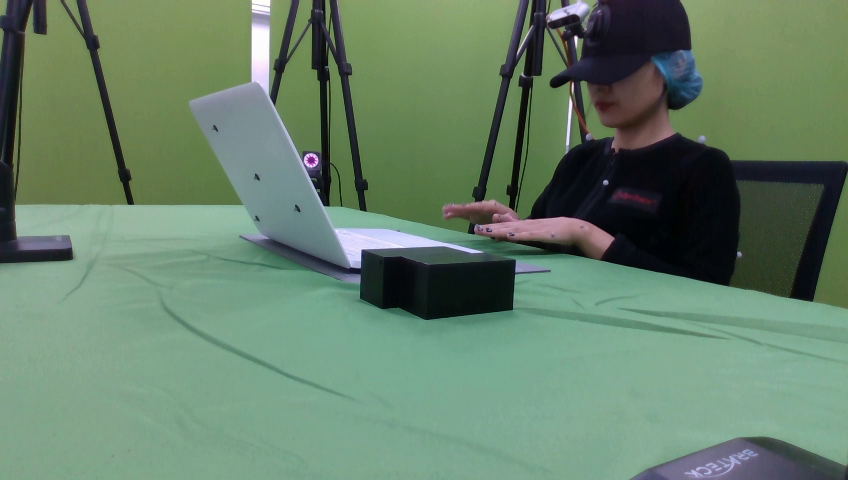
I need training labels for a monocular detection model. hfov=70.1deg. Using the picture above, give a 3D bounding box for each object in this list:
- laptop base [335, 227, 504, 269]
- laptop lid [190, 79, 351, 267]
[{"bbox_3d":[-0.077,0.009,0.914,0.237,0.023,0.352,1,7,-33],"label":"laptop base"},{"bbox_3d":[-0.220,-0.087,0.809,0.013,0.242,0.355,-34,25,-24],"label":"laptop lid"}]
